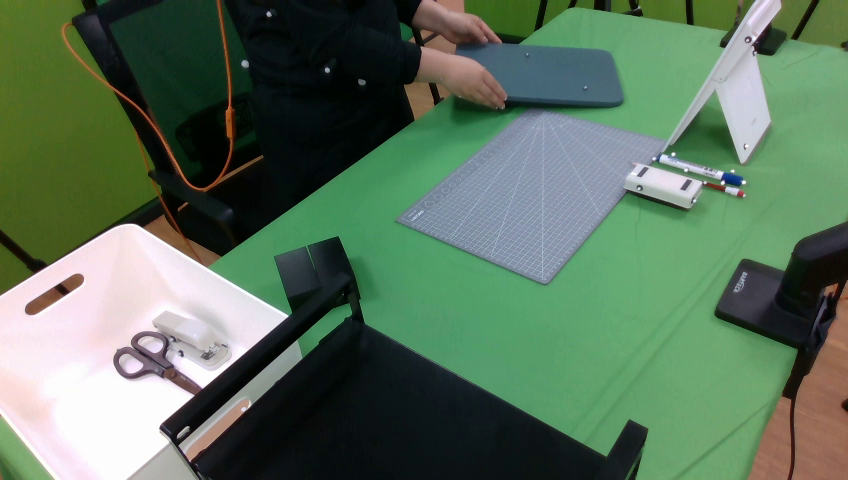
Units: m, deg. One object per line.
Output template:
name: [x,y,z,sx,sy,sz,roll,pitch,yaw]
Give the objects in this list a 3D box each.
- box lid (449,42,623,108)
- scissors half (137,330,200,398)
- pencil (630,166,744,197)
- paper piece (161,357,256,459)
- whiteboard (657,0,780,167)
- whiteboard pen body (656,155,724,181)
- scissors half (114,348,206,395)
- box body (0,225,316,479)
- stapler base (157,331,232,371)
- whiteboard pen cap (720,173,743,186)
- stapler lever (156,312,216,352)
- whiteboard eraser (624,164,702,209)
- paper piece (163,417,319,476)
box lid: [0.249,-0.372,1.352,0.371,0.015,0.262,5,41,3]
scissors half: [-0.336,0.172,0.822,0.040,0.013,0.174,-36,53,-29]
pencil: [0.447,-0.103,1.038,0.192,0.012,0.012,21,48,29]
paper piece: [-0.232,0.219,0.749,0.134,0.004,0.136,25,51,32]
whiteboard: [0.571,-0.272,1.038,0.143,0.306,0.218,37,54,17]
whiteboard pen body: [0.475,-0.123,1.052,0.139,0.017,0.017,24,49,32]
scissors half: [-0.348,0.185,0.810,0.174,0.013,0.040,14,52,19]
box body: [-0.339,0.162,0.728,0.361,0.161,0.255,23,48,31]
stapler base: [-0.326,0.142,0.849,0.129,0.024,0.041,18,43,32]
whiteboard pen cap: [0.519,-0.103,1.020,0.033,0.018,0.018,23,49,30]
stapler lever: [-0.331,0.122,0.835,0.117,0.040,0.027,17,43,33]
whiteboard eraser: [0.396,-0.087,1.003,0.112,0.042,0.056,22,47,31]
paper piece: [-0.229,0.236,0.760,0.137,0.008,0.137,33,37,29]
